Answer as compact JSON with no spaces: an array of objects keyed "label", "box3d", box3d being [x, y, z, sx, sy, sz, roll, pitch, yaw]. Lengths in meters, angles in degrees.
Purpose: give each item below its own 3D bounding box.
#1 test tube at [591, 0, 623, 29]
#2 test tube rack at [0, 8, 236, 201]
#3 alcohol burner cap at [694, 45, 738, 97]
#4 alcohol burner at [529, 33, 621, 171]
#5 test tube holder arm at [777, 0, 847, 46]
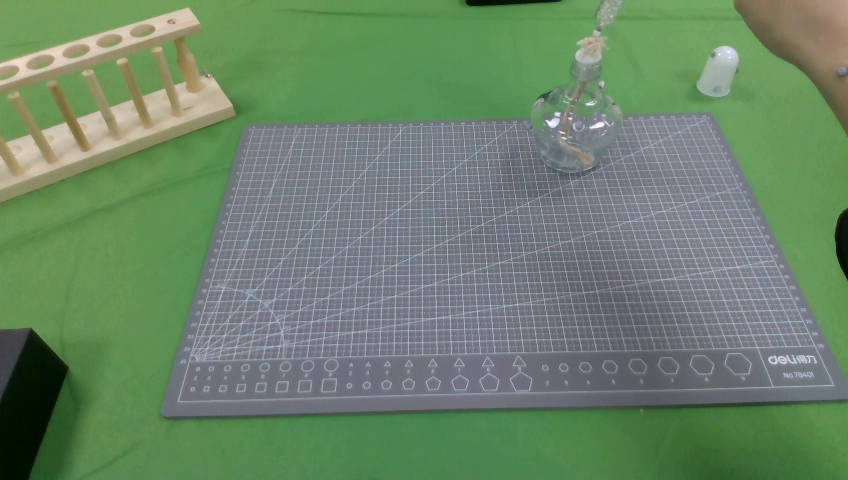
[{"label":"test tube","box3d":[0.149,-0.206,0.398,0.017,0.151,0.017,10,50,-11]},{"label":"test tube rack","box3d":[-0.306,-0.121,0.544,0.242,0.086,0.066,-26,53,-19]},{"label":"alcohol burner cap","box3d":[0.291,-0.168,0.598,0.034,0.048,0.033,-1,49,2]},{"label":"alcohol burner","box3d":[0.129,-0.117,0.507,0.078,0.120,0.077,0,47,1]},{"label":"test tube holder arm","box3d":[0.201,-0.168,0.374,0.013,0.015,0.177,-34,69,-34]}]
